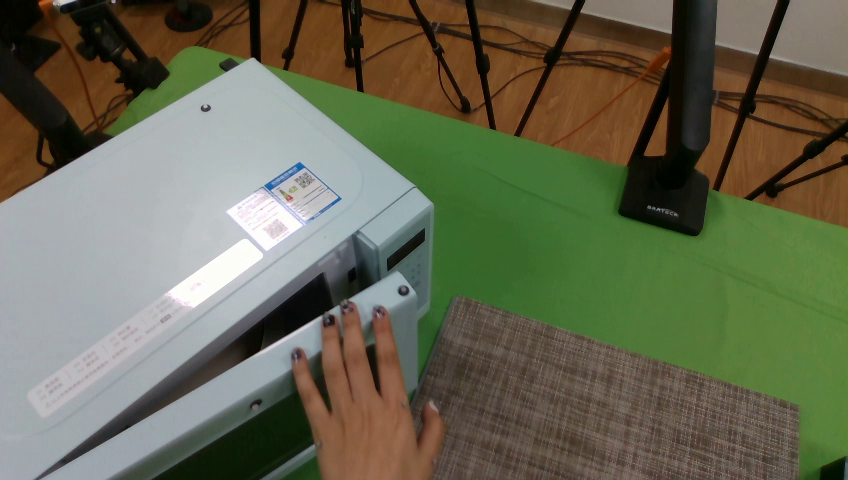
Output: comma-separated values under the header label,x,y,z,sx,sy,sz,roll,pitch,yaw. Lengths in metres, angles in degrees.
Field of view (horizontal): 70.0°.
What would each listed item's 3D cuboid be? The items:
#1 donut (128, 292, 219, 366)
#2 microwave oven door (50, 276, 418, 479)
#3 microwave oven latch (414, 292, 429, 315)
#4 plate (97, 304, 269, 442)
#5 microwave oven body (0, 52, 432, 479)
label,x,y,z,sx,sy,sz,roll,pitch,yaw
donut,-0.288,0.102,0.700,0.099,0.048,0.098,4,42,-3
microwave oven door,-0.162,0.185,0.590,0.356,0.246,0.039,-30,62,-19
microwave oven latch,-0.028,0.092,0.775,0.030,0.030,0.079,41,66,21
plate,-0.274,0.135,0.678,0.209,0.038,0.207,-2,53,4
microwave oven body,-0.257,0.056,0.677,0.323,0.262,0.441,40,65,21
